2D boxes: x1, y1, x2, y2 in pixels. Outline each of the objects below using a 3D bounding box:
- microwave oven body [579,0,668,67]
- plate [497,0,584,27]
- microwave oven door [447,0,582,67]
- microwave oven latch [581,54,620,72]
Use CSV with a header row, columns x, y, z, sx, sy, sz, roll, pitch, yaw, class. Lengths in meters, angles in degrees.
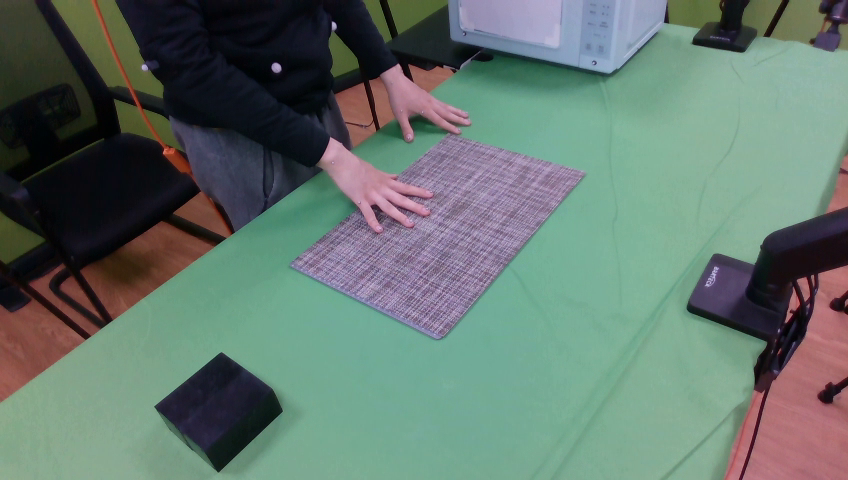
x,y,z,sx,sy,sz,roll,pitch,yaw,class
0.325,-0.609,1.437,0.438,0.261,0.327,23,49,30,microwave oven body
0.286,-0.572,1.488,0.209,0.038,0.208,-5,41,5,plate
0.203,-0.544,1.372,0.353,0.245,0.039,23,49,29,microwave oven door
0.386,-0.393,1.330,0.078,0.029,0.030,25,51,32,microwave oven latch
